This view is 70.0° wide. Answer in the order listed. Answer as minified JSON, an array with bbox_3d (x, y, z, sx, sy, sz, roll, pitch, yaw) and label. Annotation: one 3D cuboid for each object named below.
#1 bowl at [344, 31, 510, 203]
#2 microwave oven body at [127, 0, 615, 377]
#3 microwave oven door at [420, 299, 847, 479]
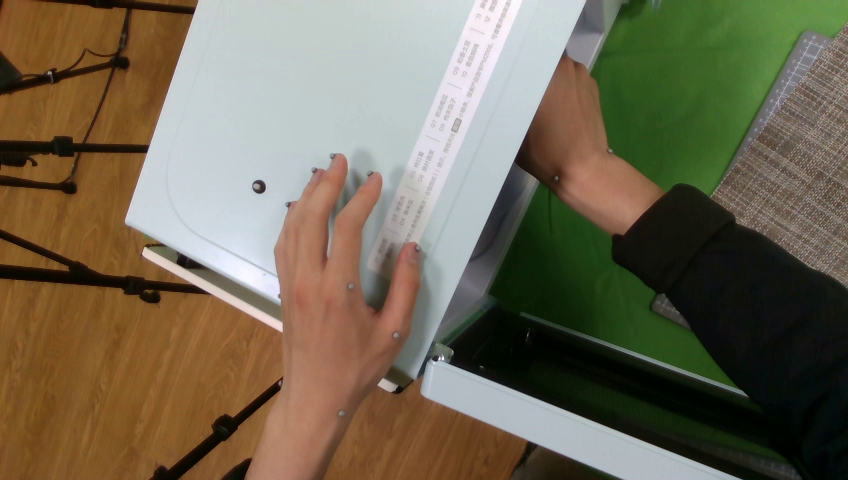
[{"bbox_3d":[0.010,-0.109,0.566,0.151,0.077,0.151,1,94,14],"label":"bowl"},{"bbox_3d":[-0.006,-0.164,0.535,0.325,0.260,0.442,26,102,12],"label":"microwave oven body"},{"bbox_3d":[0.194,0.141,0.499,0.354,0.244,0.039,18,99,14],"label":"microwave oven door"}]
